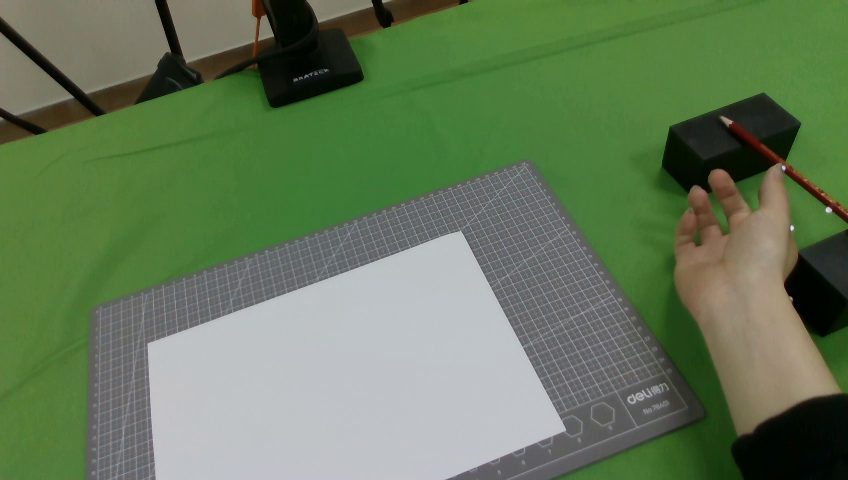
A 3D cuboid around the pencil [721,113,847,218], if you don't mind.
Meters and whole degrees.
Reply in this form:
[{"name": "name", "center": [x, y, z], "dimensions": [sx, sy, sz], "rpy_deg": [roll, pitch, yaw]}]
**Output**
[{"name": "pencil", "center": [0.305, -0.050, 0.486], "dimensions": [0.012, 0.012, 0.192], "rpy_deg": [-23, 50, -8]}]
